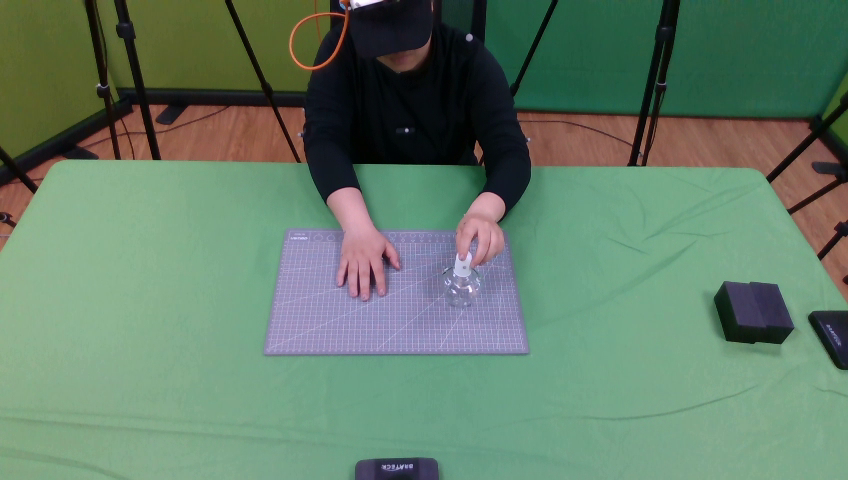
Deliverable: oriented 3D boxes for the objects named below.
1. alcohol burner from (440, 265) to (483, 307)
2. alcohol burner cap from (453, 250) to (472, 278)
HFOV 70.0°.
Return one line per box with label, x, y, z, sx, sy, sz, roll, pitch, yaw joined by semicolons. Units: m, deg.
alcohol burner;0.067;0.064;1.076;0.078;0.120;0.077;1;45;0
alcohol burner cap;0.068;0.039;1.050;0.034;0.048;0.033;1;41;-1
